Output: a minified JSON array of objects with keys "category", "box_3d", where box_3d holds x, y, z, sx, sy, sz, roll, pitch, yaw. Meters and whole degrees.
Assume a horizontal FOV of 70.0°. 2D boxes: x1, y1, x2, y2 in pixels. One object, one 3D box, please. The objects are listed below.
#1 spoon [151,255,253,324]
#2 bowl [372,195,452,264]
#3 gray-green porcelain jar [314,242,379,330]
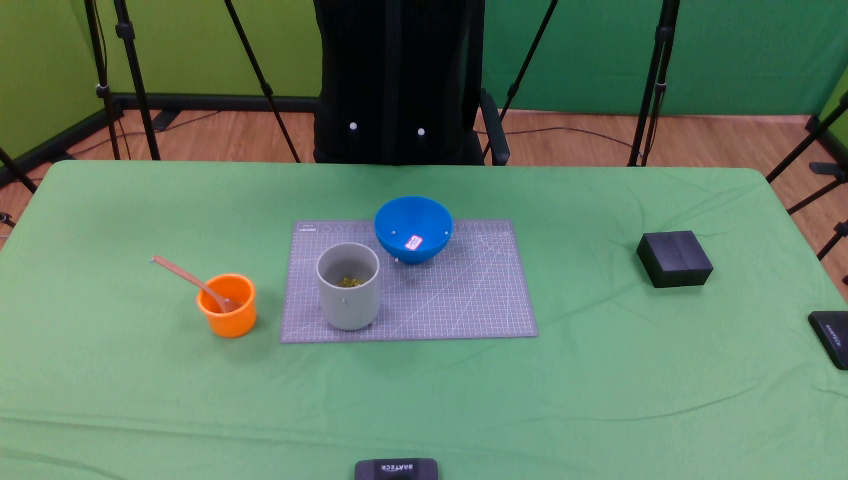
[{"category":"spoon","box_3d":[-0.365,0.080,1.004,0.021,0.195,0.041,-27,32,33]},{"category":"bowl","box_3d":[-0.023,-0.008,1.161,0.151,0.077,0.150,2,46,-2]},{"category":"gray-green porcelain jar","box_3d":[-0.129,0.084,1.031,0.106,0.127,0.105,2,46,-2]}]
